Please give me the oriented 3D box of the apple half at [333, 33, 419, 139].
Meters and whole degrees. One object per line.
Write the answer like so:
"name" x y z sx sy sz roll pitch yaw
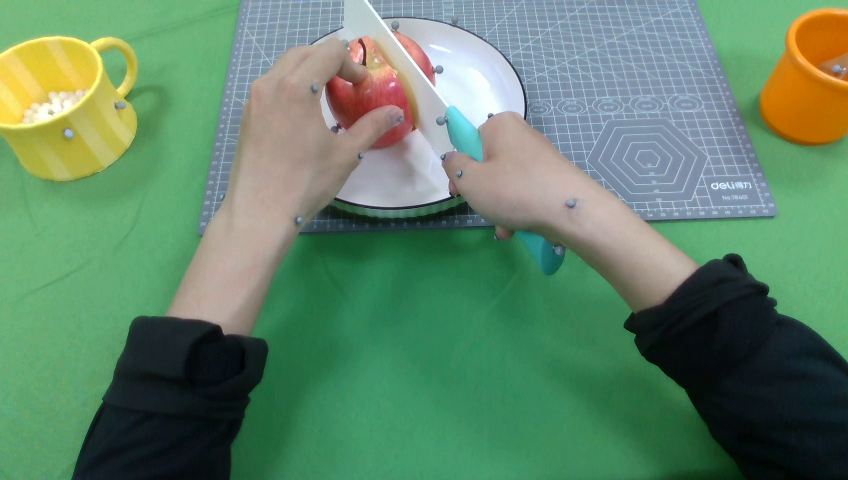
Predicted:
"apple half" -0.039 -0.112 0.474 0.053 0.075 0.080 -44 64 -8

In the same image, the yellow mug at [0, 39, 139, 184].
"yellow mug" -0.290 -0.116 0.501 0.099 0.064 0.130 29 63 17

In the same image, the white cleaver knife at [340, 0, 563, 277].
"white cleaver knife" 0.010 -0.087 0.447 0.021 0.066 0.284 -26 67 -18

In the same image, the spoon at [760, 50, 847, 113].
"spoon" 0.361 -0.159 0.469 0.022 0.194 0.041 23 47 -37

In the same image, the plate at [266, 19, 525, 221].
"plate" -0.023 -0.099 0.500 0.209 0.038 0.207 0 59 1

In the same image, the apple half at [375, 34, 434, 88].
"apple half" -0.012 -0.129 0.488 0.033 0.082 0.080 -28 62 -19
